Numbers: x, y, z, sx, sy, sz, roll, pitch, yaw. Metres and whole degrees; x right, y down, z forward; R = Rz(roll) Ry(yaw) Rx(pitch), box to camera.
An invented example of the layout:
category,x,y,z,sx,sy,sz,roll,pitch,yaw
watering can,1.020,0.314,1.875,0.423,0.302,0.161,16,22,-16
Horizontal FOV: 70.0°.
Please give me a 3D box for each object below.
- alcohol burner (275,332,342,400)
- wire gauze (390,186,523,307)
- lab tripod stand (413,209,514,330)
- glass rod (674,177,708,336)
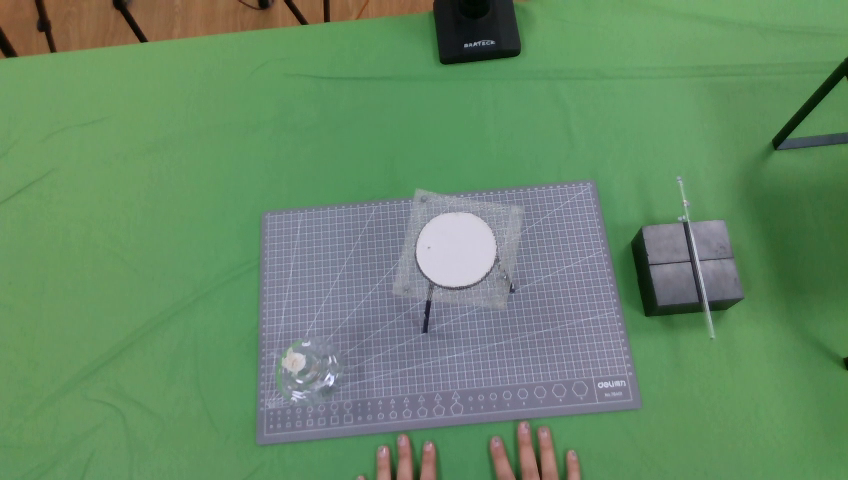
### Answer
category,x,y,z,sx,sy,sz,roll,pitch,yaw
alcohol burner,-0.133,0.139,0.680,0.078,0.120,0.077,-1,71,2
wire gauze,0.036,0.005,0.642,0.121,0.011,0.124,11,70,7
lab tripod stand,0.033,0.029,0.705,0.148,0.132,0.147,-2,69,4
glass rod,0.316,0.016,0.717,0.008,0.008,0.198,-2,70,2
